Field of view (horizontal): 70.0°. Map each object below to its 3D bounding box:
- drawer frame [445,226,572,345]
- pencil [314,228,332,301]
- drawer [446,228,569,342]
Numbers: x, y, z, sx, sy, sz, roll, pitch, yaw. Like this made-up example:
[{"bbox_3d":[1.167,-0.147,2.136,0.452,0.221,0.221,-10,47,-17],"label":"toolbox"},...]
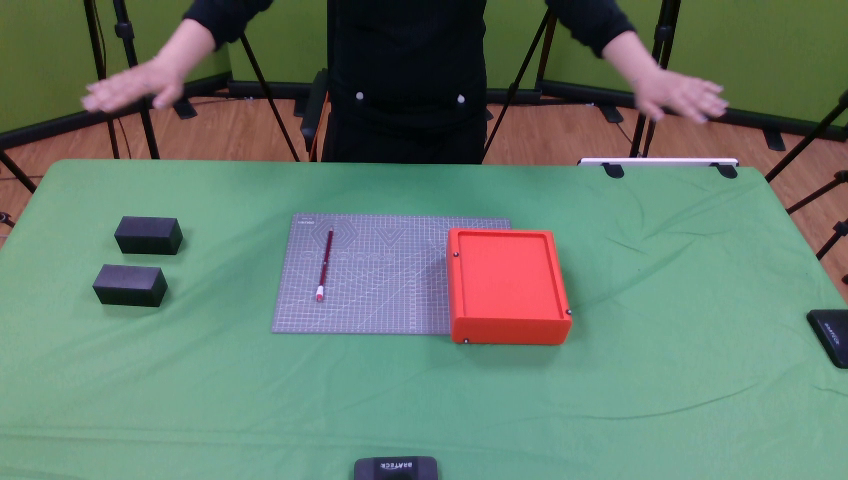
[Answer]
[{"bbox_3d":[0.144,0.078,1.087,0.202,0.083,0.212,2,47,-4],"label":"drawer frame"},{"bbox_3d":[-0.189,0.041,1.148,0.012,0.012,0.193,3,43,-1],"label":"pencil"},{"bbox_3d":[0.142,0.077,1.089,0.195,0.073,0.210,2,47,-4],"label":"drawer"}]
